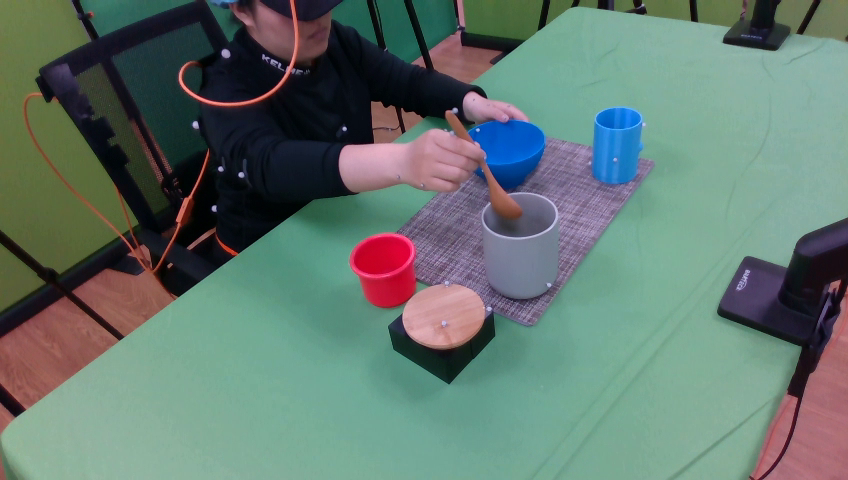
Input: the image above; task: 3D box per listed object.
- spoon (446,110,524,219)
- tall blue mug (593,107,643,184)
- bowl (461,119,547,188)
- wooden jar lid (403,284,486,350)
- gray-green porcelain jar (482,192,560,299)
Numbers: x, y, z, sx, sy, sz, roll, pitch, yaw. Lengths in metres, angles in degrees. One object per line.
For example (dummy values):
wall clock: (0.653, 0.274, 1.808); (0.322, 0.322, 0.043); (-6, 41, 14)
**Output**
spoon: (0.078, -0.093, 0.788); (0.041, 0.195, 0.021); (-3, 43, 41)
tall blue mug: (0.330, -0.172, 1.052); (0.078, 0.108, 0.106); (-12, 40, 0)
bowl: (0.144, -0.146, 1.082); (0.151, 0.077, 0.150); (-6, 40, 5)
wooden jar lid: (0.027, 0.101, 0.786); (0.108, 0.021, 0.108); (-5, 39, 5)
gray-green porcelain jar: (0.139, 0.012, 0.858); (0.106, 0.127, 0.105); (-6, 40, 5)
